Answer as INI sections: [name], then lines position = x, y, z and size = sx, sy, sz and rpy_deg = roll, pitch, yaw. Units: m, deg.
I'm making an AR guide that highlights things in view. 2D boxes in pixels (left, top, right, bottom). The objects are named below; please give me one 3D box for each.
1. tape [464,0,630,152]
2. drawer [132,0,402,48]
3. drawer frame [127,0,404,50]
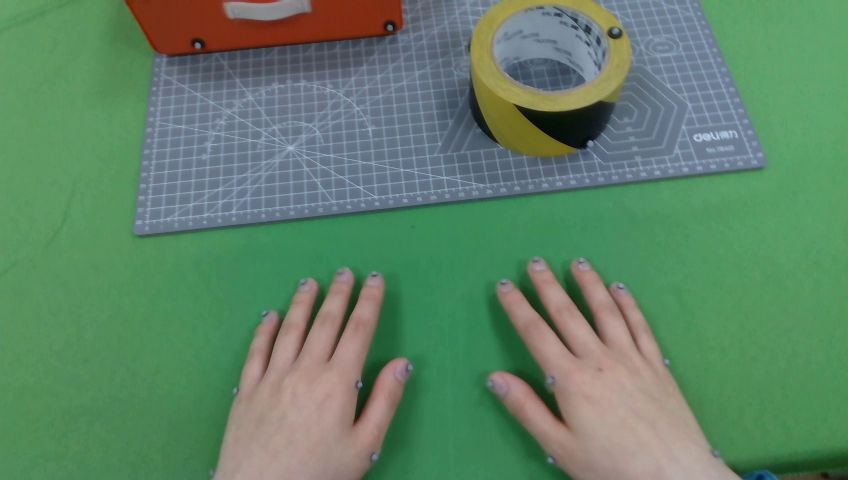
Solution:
[tape]
position = 0.088, -0.123, 0.440
size = 0.117, 0.053, 0.116
rpy_deg = -1, 64, 2
[drawer]
position = -0.124, -0.265, 0.497
size = 0.194, 0.074, 0.210
rpy_deg = -6, 64, -1
[drawer frame]
position = -0.126, -0.267, 0.498
size = 0.202, 0.083, 0.211
rpy_deg = -6, 63, -1
